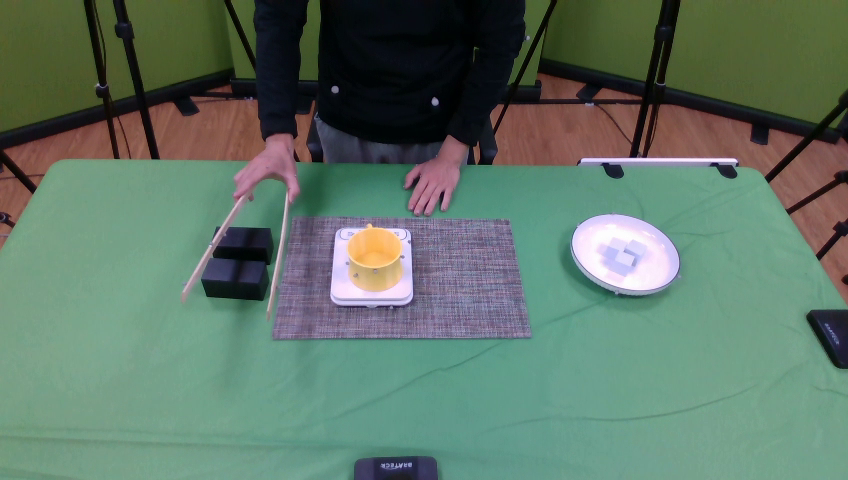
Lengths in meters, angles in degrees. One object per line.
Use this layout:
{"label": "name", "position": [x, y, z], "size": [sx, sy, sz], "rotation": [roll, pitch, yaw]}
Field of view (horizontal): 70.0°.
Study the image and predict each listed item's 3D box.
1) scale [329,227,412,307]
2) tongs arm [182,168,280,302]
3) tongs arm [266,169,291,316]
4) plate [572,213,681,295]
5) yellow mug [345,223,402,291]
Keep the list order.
{"label": "scale", "position": [-0.099, 0.042, 1.139], "size": [0.149, 0.032, 0.199], "rotation": [1, 46, -4]}
{"label": "tongs arm", "position": [-0.327, -0.024, 1.068], "size": [0.051, 0.026, 0.382], "rotation": [11, 37, -3]}
{"label": "tongs arm", "position": [-0.260, -0.011, 1.076], "size": [0.028, 0.028, 0.385], "rotation": [2, 39, -9]}
{"label": "plate", "position": [0.392, 0.030, 1.189], "size": [0.208, 0.039, 0.206], "rotation": [2, 46, -2]}
{"label": "yellow mug", "position": [-0.092, 0.022, 1.093], "size": [0.100, 0.064, 0.130], "rotation": [-7, 46, -10]}
